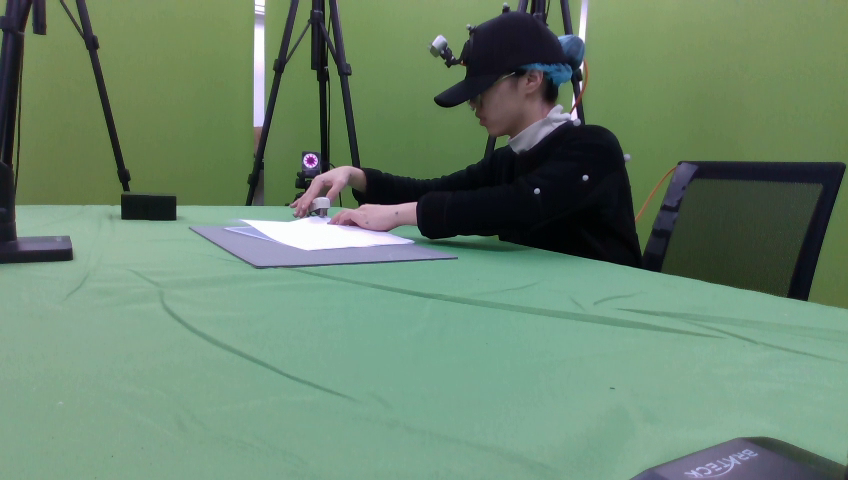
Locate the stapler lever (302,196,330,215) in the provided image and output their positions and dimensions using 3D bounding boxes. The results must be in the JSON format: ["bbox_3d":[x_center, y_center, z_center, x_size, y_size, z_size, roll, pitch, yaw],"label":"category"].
[{"bbox_3d":[-0.227,-0.072,1.265,0.027,0.040,0.117,-1,4,-29],"label":"stapler lever"}]

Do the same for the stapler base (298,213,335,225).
[{"bbox_3d":[-0.226,-0.046,1.266,0.041,0.024,0.130,-1,4,-29],"label":"stapler base"}]
